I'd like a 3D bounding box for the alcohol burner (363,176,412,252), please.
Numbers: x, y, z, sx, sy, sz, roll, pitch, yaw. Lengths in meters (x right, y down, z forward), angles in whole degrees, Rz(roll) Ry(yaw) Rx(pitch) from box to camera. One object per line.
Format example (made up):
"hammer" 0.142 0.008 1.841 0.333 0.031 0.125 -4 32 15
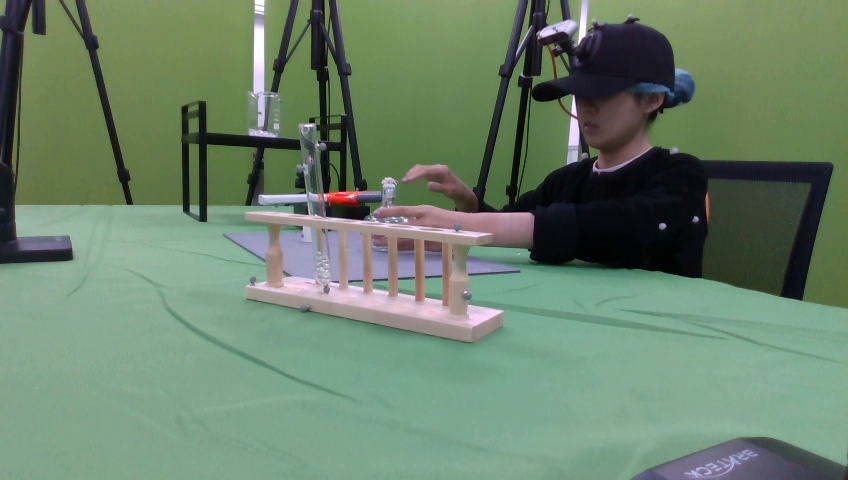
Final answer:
"alcohol burner" -0.056 -0.041 0.941 0.078 0.119 0.078 3 5 0

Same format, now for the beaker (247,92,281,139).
"beaker" -0.361 -0.280 1.359 0.074 0.100 0.084 4 8 8

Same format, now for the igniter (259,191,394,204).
"igniter" -0.193 -0.085 1.228 0.278 0.025 0.057 -3 11 -28

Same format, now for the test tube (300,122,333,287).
"test tube" -0.096 -0.030 0.543 0.017 0.150 0.017 -3 14 1

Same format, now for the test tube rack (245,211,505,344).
"test tube rack" -0.049 0.025 0.547 0.241 0.085 0.067 7 8 29

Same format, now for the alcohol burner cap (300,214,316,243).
"alcohol burner cap" -0.186 -0.018 0.991 0.034 0.048 0.034 1 6 0
